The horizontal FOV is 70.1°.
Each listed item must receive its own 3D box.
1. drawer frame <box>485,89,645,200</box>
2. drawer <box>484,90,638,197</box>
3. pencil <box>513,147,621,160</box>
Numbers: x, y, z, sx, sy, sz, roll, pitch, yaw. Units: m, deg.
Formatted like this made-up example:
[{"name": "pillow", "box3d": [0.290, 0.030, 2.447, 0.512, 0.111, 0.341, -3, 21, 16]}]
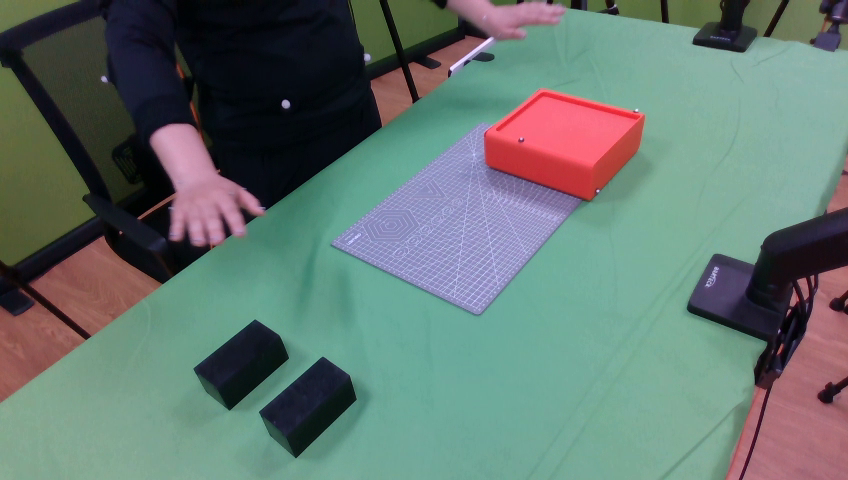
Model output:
[{"name": "drawer frame", "box3d": [0.253, -0.180, 1.094, 0.212, 0.083, 0.202, 24, 48, 31]}, {"name": "drawer", "box3d": [0.247, -0.180, 1.097, 0.210, 0.073, 0.195, 25, 49, 31]}, {"name": "pencil", "box3d": [0.259, -0.157, 1.101, 0.194, 0.012, 0.012, -4, 40, 3]}]
